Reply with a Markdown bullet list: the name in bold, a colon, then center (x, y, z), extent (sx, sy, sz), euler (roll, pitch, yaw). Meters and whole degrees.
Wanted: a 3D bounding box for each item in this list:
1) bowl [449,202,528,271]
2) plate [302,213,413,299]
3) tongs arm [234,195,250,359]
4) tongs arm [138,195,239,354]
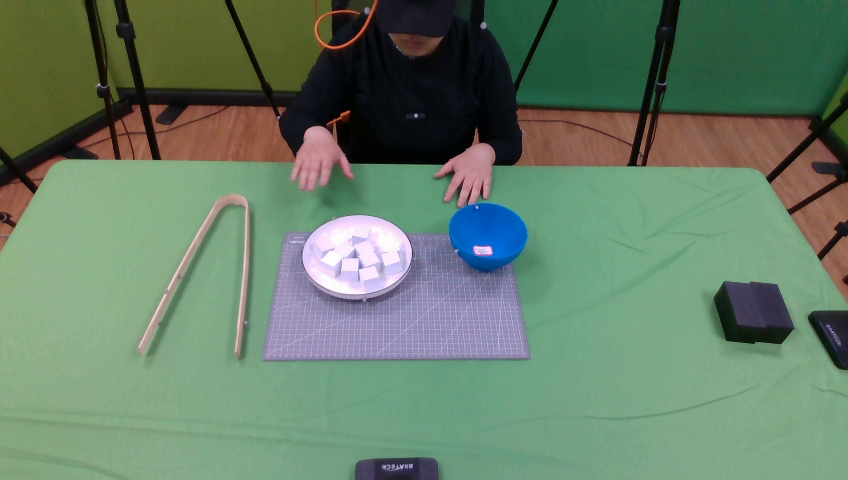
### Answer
- **bowl**: center (0.118, 0.006, 1.160), extent (0.151, 0.077, 0.150), euler (2, 46, -2)
- **plate**: center (-0.124, 0.033, 1.143), extent (0.208, 0.039, 0.206), euler (2, 46, -2)
- **tongs arm**: center (-0.338, 0.052, 1.118), extent (0.028, 0.028, 0.385), euler (-6, 47, -7)
- **tongs arm**: center (-0.421, 0.047, 1.111), extent (0.051, 0.026, 0.382), euler (6, 45, 0)
